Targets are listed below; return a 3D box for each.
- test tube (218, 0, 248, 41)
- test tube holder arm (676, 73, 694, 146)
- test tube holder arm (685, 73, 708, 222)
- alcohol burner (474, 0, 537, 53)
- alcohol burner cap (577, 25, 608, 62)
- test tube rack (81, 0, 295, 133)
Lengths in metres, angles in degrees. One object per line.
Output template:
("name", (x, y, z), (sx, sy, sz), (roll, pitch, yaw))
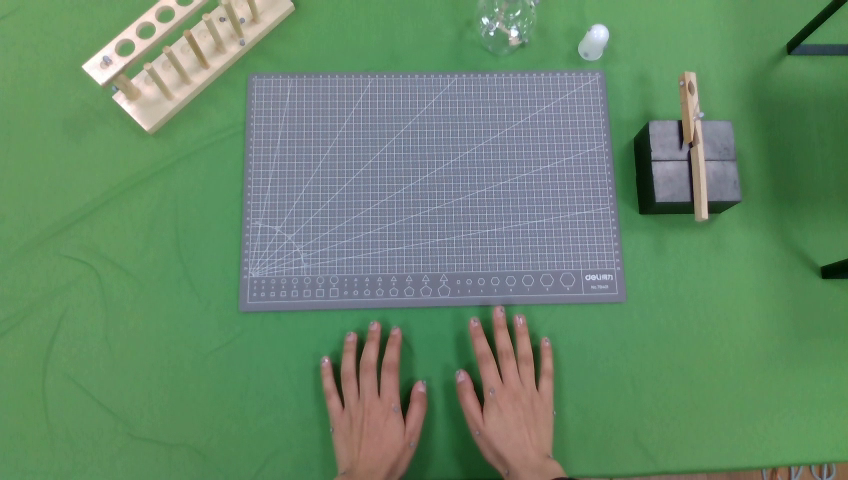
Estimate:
("test tube", (-0.226, -0.276, 0.686), (0.017, 0.151, 0.017), (0, 74, -1))
("test tube holder arm", (0.306, -0.152, 0.707), (0.010, 0.015, 0.087), (1, 78, -9))
("test tube holder arm", (0.312, -0.108, 0.699), (0.013, 0.015, 0.177), (0, 78, -9))
("alcohol burner", (0.101, -0.279, 0.730), (0.078, 0.119, 0.077), (1, 76, -3))
("alcohol burner cap", (0.215, -0.251, 0.765), (0.034, 0.048, 0.033), (0, 76, -2))
("test tube rack", (-0.272, -0.246, 0.724), (0.066, 0.085, 0.242), (43, 79, 8))
